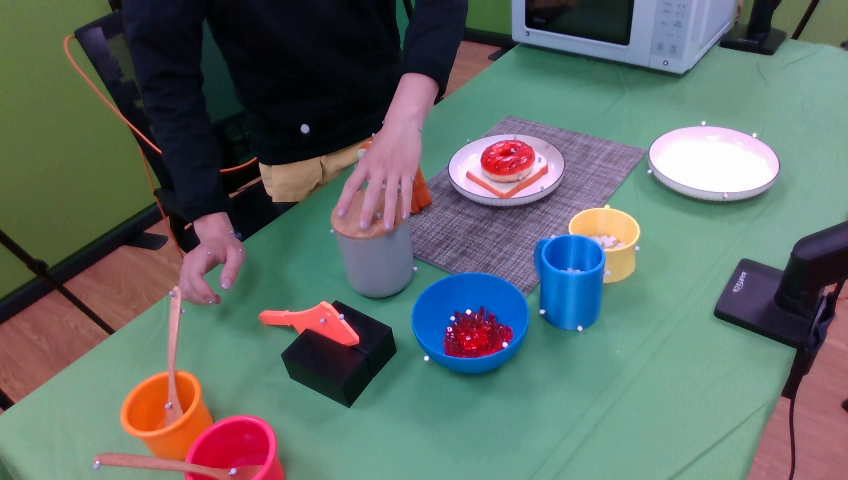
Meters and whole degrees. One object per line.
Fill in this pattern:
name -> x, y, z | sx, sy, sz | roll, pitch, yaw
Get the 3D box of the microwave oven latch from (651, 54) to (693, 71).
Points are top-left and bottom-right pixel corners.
microwave oven latch -> 0.531, -0.386, 1.301 | 0.078, 0.029, 0.030 | 26, 51, 33

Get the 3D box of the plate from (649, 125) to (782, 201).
plate -> 0.493, -0.127, 1.036 | 0.207, 0.039, 0.206 | -4, 41, 4

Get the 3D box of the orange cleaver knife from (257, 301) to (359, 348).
orange cleaver knife -> -0.160, 0.115, 0.813 | 0.210, 0.077, 0.012 | -9, 29, 48

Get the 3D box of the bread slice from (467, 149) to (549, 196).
bread slice -> 0.156, -0.128, 1.085 | 0.132, 0.019, 0.104 | -34, 48, -23

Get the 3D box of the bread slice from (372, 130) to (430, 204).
bread slice -> -0.043, -0.126, 1.038 | 0.106, 0.135, 0.018 | 30, 61, 34

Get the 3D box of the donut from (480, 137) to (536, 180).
donut -> 0.145, -0.144, 1.056 | 0.099, 0.048, 0.098 | -5, 42, 6

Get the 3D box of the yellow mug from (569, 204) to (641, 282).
yellow mug -> 0.268, -0.005, 0.904 | 0.099, 0.064, 0.130 | 7, 41, 15

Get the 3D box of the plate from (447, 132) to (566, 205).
plate -> 0.146, -0.124, 1.076 | 0.209, 0.038, 0.208 | -4, 41, 4

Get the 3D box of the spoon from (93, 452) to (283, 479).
spoon -> -0.240, 0.239, 0.632 | 0.195, 0.021, 0.041 | 26, 34, -32

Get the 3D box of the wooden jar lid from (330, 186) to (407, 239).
wooden jar lid -> -0.077, -0.035, 0.847 | 0.108, 0.021, 0.108 | -6, 41, 5

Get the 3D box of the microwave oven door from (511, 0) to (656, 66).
microwave oven door -> 0.351, -0.539, 1.348 | 0.353, 0.245, 0.039 | 24, 50, 31

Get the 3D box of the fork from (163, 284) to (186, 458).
fork -> -0.302, 0.157, 0.733 | 0.028, 0.019, 0.207 | -3, 84, 15

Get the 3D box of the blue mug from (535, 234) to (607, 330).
blue mug -> 0.191, 0.048, 0.824 | 0.082, 0.106, 0.115 | -26, 44, -20

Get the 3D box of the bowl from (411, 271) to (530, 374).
bowl -> 0.062, 0.120, 0.780 | 0.151, 0.077, 0.150 | -4, 40, 4

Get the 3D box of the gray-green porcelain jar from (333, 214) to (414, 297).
gray-green porcelain jar -> -0.071, 0.012, 0.887 | 0.106, 0.127, 0.105 | -4, 41, 4

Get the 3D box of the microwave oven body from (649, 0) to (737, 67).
microwave oven body -> 0.475, -0.602, 1.411 | 0.438, 0.261, 0.327 | 23, 50, 32
